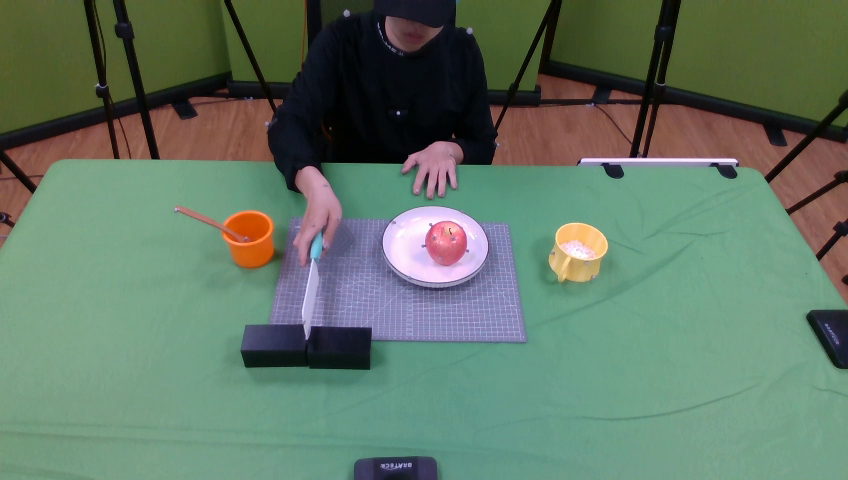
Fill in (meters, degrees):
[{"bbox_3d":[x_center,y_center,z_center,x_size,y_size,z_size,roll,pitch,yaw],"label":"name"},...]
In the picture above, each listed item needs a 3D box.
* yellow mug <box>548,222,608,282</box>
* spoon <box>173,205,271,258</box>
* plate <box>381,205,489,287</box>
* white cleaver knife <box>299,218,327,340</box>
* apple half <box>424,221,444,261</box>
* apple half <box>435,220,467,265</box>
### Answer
[{"bbox_3d":[0.287,0.031,1.159,0.099,0.064,0.130,28,51,21],"label":"yellow mug"},{"bbox_3d":[-0.362,-0.017,1.098,0.021,0.195,0.041,-32,42,27],"label":"spoon"},{"bbox_3d":[0.021,0.015,1.170,0.209,0.038,0.208,2,46,-2],"label":"plate"},{"bbox_3d":[-0.198,0.058,1.069,0.021,0.066,0.284,0,37,0],"label":"white cleaver knife"},{"bbox_3d":[0.016,0.002,1.145,0.033,0.081,0.081,13,46,3],"label":"apple half"},{"bbox_3d":[0.054,0.009,1.142,0.053,0.075,0.080,14,43,3],"label":"apple half"}]
